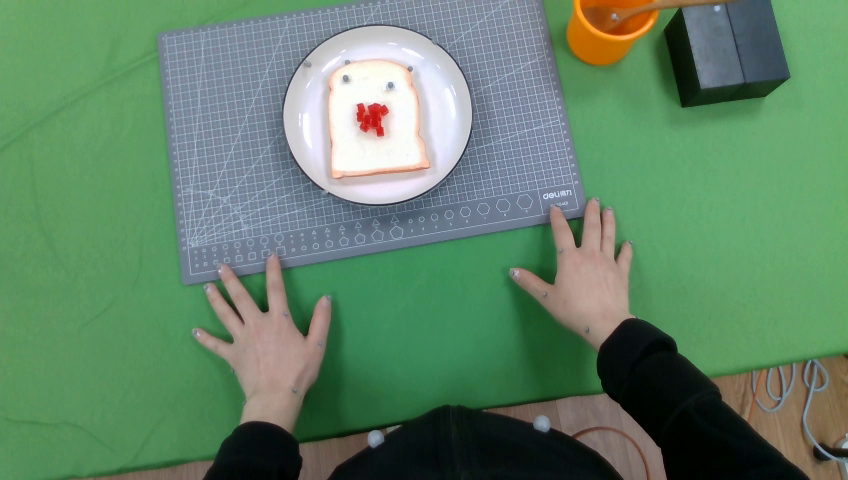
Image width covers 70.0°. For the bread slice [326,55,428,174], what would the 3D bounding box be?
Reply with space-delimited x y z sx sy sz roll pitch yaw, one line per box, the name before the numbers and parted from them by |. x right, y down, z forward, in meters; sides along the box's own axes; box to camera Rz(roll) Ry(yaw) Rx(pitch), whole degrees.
bread slice | -0.059 -0.139 0.672 0.107 0.018 0.133 -9 80 -3

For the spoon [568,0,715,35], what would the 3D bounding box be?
spoon | 0.239 -0.246 0.639 0.022 0.192 0.041 29 76 -40

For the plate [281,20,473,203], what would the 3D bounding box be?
plate | -0.050 -0.139 0.671 0.209 0.038 0.208 0 80 0
